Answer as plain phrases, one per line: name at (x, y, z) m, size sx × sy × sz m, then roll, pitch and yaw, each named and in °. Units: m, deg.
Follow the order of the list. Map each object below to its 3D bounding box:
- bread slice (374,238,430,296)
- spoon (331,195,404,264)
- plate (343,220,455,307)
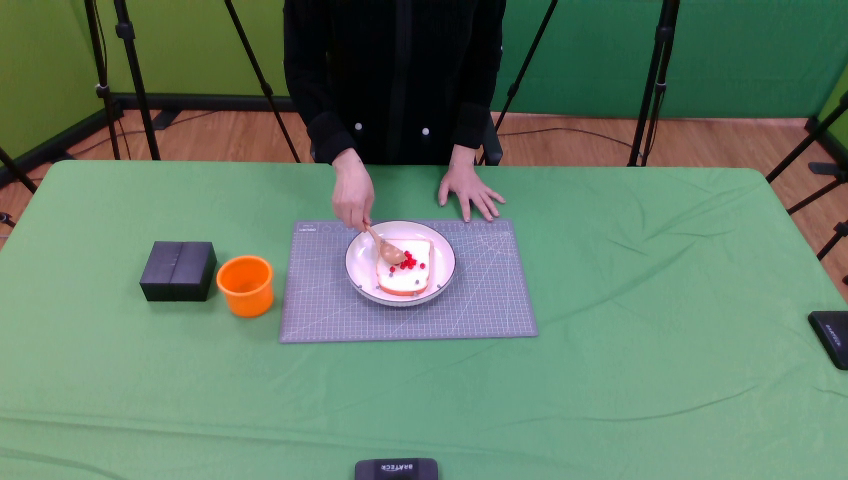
bread slice at (-0.039, 0.048, 1.135) m, size 0.107 × 0.018 × 0.133 m, roll -1°, pitch 46°, yaw -4°
spoon at (-0.108, -0.023, 1.137) m, size 0.041 × 0.022 × 0.193 m, roll -36°, pitch 75°, yaw -31°
plate at (-0.047, 0.046, 1.135) m, size 0.209 × 0.038 × 0.208 m, roll 2°, pitch 46°, yaw -2°
